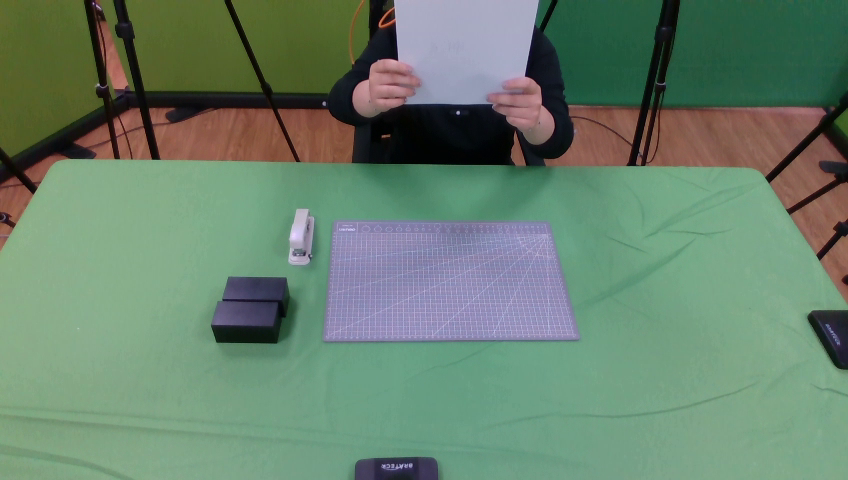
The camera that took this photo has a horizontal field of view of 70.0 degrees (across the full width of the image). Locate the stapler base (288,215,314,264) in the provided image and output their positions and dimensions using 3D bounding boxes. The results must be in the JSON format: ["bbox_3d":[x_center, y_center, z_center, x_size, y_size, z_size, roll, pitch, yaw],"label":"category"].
[{"bbox_3d":[-0.241,-0.007,1.184,0.041,0.024,0.129,1,44,-5],"label":"stapler base"}]

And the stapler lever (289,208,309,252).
[{"bbox_3d":[-0.240,-0.026,1.167,0.027,0.040,0.117,1,44,-5],"label":"stapler lever"}]
